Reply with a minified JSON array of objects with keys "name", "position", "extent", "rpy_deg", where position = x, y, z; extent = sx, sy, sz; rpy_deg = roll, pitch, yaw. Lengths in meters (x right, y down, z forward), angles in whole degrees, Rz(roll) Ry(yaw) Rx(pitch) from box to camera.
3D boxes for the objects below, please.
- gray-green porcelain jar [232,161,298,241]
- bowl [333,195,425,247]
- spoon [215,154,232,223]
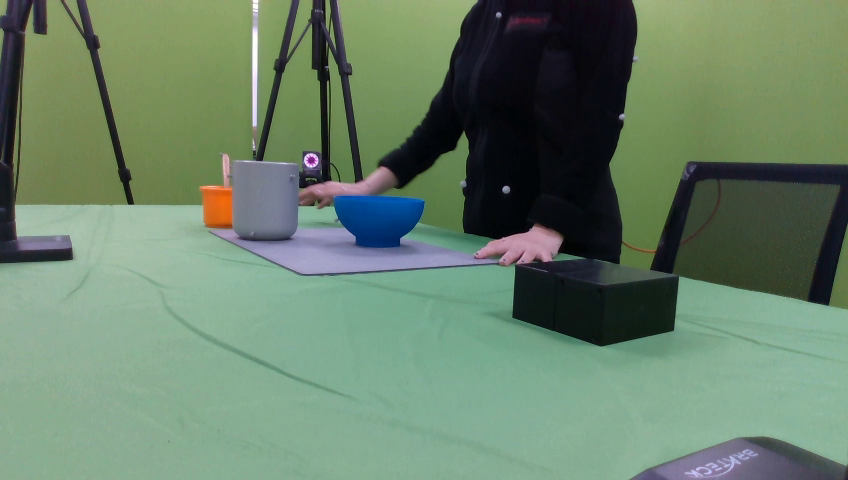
[{"name":"gray-green porcelain jar","position":[-0.262,-0.065,0.999],"extent":[0.106,0.126,0.106],"rpy_deg":[3,7,0]},{"name":"bowl","position":[-0.074,-0.031,0.987],"extent":[0.151,0.077,0.151],"rpy_deg":[2,7,0]},{"name":"spoon","position":[-0.389,-0.104,1.193],"extent":[0.042,0.193,0.021],"rpy_deg":[2,-37,-19]}]
